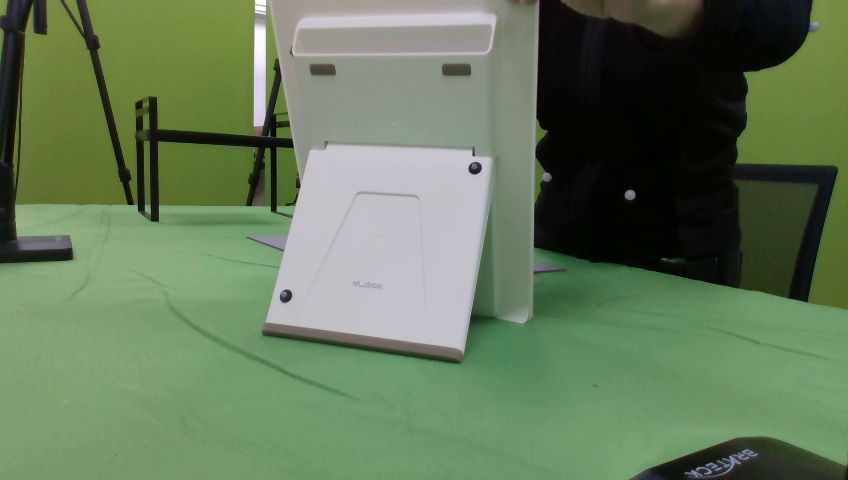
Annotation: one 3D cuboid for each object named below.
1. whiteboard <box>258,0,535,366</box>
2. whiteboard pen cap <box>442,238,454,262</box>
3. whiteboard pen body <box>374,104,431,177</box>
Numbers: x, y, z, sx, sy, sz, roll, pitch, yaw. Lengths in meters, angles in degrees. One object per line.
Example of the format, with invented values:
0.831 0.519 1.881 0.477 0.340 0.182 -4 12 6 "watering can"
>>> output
-0.037 -0.040 0.456 0.216 0.305 0.144 5 27 19 "whiteboard"
0.033 0.014 0.851 0.018 0.033 0.018 3 5 0 "whiteboard pen cap"
-0.021 -0.098 0.590 0.017 0.017 0.141 5 38 20 "whiteboard pen body"
